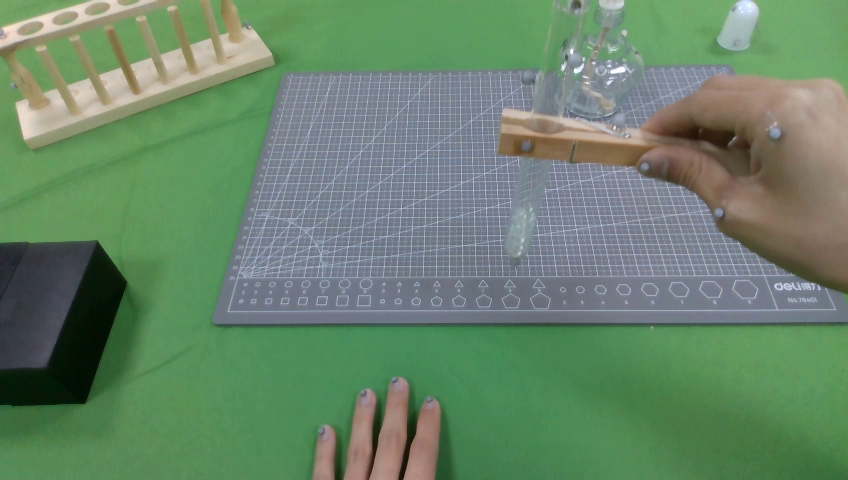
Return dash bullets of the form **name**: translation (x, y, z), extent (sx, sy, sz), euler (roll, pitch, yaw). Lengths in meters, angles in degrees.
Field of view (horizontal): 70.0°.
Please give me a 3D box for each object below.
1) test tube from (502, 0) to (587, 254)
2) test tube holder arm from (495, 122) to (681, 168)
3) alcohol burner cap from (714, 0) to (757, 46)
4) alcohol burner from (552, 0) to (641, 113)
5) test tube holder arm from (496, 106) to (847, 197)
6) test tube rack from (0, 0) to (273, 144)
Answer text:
- **test tube**: translation (0.056, -0.048, 0.303), extent (0.017, 0.151, 0.017), euler (2, 45, -2)
- **test tube holder arm**: translation (0.079, -0.046, 0.294), extent (0.088, 0.015, 0.010), euler (5, 48, 0)
- **alcohol burner cap**: translation (0.319, -0.224, 0.615), extent (0.034, 0.048, 0.033), euler (-2, 51, 3)
- **alcohol burner**: translation (0.154, -0.173, 0.531), extent (0.078, 0.120, 0.077), euler (-1, 50, 1)
- **test tube holder arm**: translation (0.124, -0.043, 0.295), extent (0.178, 0.015, 0.013), euler (11, 49, 5)
- **test tube rack**: translation (-0.279, -0.185, 0.582), extent (0.242, 0.086, 0.066), euler (-25, 54, -17)
